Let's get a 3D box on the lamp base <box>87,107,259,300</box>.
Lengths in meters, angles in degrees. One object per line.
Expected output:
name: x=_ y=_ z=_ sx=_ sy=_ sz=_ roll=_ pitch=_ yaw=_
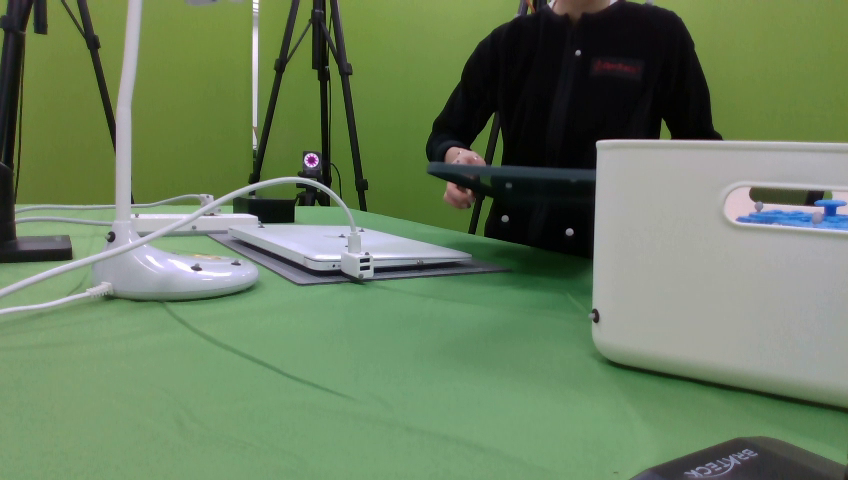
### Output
lamp base: x=-0.254 y=-0.039 z=0.603 sx=0.160 sy=0.180 sz=0.179 roll=5 pitch=10 yaw=18

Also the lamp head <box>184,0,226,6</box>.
lamp head: x=-0.229 y=-0.320 z=0.627 sx=0.112 sy=0.112 sz=0.123 roll=6 pitch=-36 yaw=26

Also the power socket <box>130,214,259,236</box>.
power socket: x=-0.397 y=-0.028 z=1.048 sx=0.228 sy=0.032 sz=0.072 roll=-3 pitch=7 yaw=-35

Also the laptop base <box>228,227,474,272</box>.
laptop base: x=-0.123 y=0.011 z=0.889 sx=0.237 sy=0.023 sz=0.352 roll=2 pitch=6 yaw=-35

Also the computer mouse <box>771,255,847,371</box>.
computer mouse: x=0.345 y=0.057 z=0.519 sx=0.063 sy=0.041 sz=0.117 roll=12 pitch=47 yaw=4

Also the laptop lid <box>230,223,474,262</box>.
laptop lid: x=-0.121 y=0.000 z=0.888 sx=0.243 sy=0.013 sz=0.355 roll=1 pitch=7 yaw=-33

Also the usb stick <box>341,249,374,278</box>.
usb stick: x=-0.078 y=0.026 z=0.686 sx=0.021 sy=0.027 sz=0.059 roll=-8 pitch=8 yaw=-30

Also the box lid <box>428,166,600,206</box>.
box lid: x=0.184 y=-0.070 z=0.856 sx=0.262 sy=0.015 sz=0.373 roll=4 pitch=0 yaw=22

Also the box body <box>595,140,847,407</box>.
box body: x=0.309 y=0.006 z=0.509 sx=0.253 sy=0.160 sz=0.366 roll=6 pitch=8 yaw=29

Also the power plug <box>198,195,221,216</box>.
power plug: x=-0.386 y=-0.055 z=1.088 sx=0.035 sy=0.052 sz=0.072 roll=-2 pitch=6 yaw=-24

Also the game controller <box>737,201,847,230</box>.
game controller: x=0.291 y=0.000 z=0.425 sx=0.097 sy=0.051 sz=0.155 roll=-1 pitch=7 yaw=5
